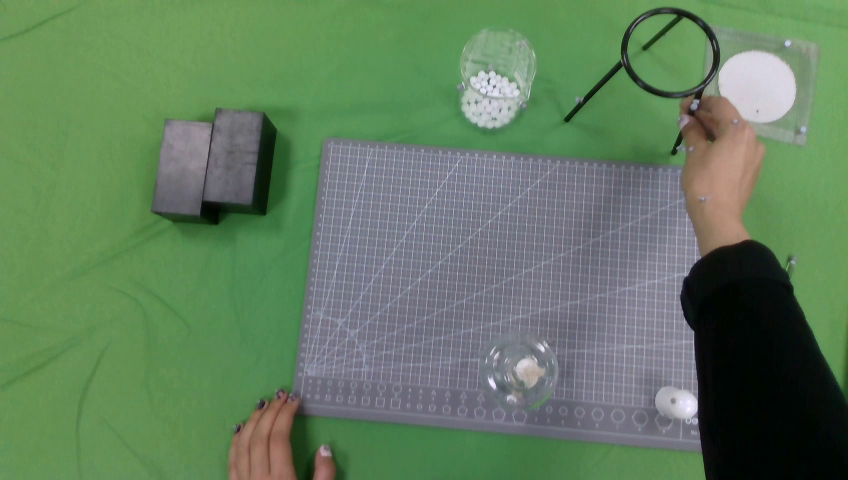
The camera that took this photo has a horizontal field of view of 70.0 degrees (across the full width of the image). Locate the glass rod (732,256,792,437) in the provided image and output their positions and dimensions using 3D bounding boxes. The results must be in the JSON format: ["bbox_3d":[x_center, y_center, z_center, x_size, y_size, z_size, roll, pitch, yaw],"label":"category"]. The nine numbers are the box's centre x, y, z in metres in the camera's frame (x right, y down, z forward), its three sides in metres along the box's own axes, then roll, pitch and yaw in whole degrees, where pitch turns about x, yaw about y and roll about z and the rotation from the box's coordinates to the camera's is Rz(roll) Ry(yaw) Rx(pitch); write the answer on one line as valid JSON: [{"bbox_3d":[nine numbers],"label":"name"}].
[{"bbox_3d":[0.353,0.109,0.631,0.008,0.008,0.199,21,82,4],"label":"glass rod"}]

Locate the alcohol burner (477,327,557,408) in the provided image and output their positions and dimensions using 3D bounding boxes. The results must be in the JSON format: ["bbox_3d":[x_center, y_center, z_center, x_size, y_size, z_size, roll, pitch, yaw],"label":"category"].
[{"bbox_3d":[0.091,0.121,0.576,0.078,0.119,0.077,0,79,0],"label":"alcohol burner"}]

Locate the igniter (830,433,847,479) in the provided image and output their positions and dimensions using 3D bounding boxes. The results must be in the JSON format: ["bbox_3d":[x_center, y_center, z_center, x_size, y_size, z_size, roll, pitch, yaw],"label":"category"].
[{"bbox_3d":[0.437,0.207,0.605,0.057,0.025,0.275,14,82,-8],"label":"igniter"}]

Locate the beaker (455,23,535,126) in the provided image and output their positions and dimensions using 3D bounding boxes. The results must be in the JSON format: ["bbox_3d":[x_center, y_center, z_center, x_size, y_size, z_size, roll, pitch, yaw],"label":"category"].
[{"bbox_3d":[0.073,-0.164,0.630,0.074,0.100,0.084,-39,83,-5],"label":"beaker"}]

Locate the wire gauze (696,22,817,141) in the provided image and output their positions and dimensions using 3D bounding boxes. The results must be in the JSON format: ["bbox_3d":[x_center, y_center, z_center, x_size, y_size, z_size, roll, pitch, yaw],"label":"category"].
[{"bbox_3d":[0.369,-0.179,0.675,0.125,0.011,0.121,12,81,4],"label":"wire gauze"}]

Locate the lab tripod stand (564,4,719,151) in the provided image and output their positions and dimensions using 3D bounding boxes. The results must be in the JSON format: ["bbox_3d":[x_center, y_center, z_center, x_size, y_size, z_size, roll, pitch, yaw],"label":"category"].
[{"bbox_3d":[0.223,-0.167,0.611,0.148,0.132,0.148,0,79,2],"label":"lab tripod stand"}]

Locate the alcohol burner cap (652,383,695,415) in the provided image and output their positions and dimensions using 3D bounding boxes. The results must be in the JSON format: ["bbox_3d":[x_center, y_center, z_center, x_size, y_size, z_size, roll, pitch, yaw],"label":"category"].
[{"bbox_3d":[0.251,0.161,0.604,0.034,0.048,0.033,0,80,2],"label":"alcohol burner cap"}]
